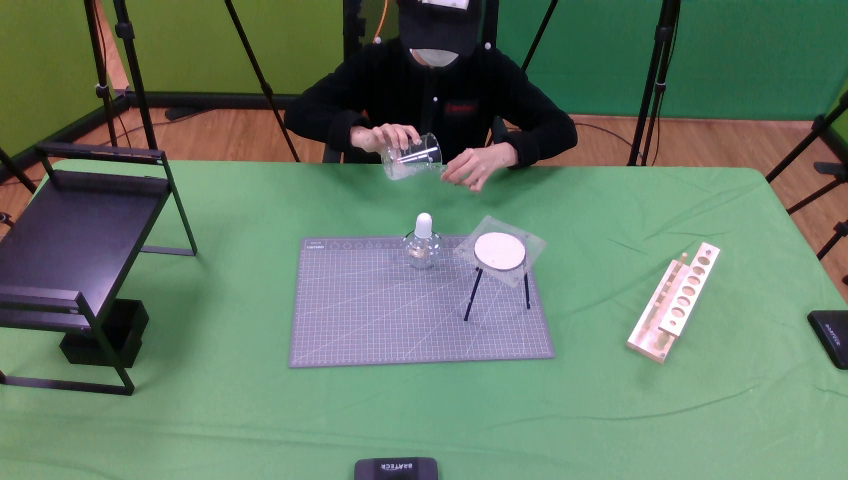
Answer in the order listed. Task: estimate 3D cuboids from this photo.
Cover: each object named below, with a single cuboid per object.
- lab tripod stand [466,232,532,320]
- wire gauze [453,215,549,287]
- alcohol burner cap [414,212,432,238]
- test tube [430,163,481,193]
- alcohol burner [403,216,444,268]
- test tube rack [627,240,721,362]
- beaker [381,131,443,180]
[{"bbox_3d":[0.125,0.059,1.065,0.148,0.132,0.147,1,45,0],"label":"lab tripod stand"},{"bbox_3d":[0.129,0.012,1.017,0.124,0.011,0.121,28,50,23],"label":"wire gauze"},{"bbox_3d":[0.000,-0.030,1.107,0.034,0.048,0.033,4,41,-3],"label":"alcohol burner cap"},{"bbox_3d":[0.068,-0.124,1.239,0.151,0.017,0.017,21,30,-43],"label":"test tube"},{"bbox_3d":[-0.001,-0.004,1.132,0.078,0.120,0.077,1,46,0],"label":"alcohol burner"},{"bbox_3d":[0.452,0.098,1.087,0.066,0.085,0.242,28,51,22],"label":"test tube rack"},{"bbox_3d":[-0.025,-0.156,1.148,0.100,0.084,0.073,-17,47,-16],"label":"beaker"}]
